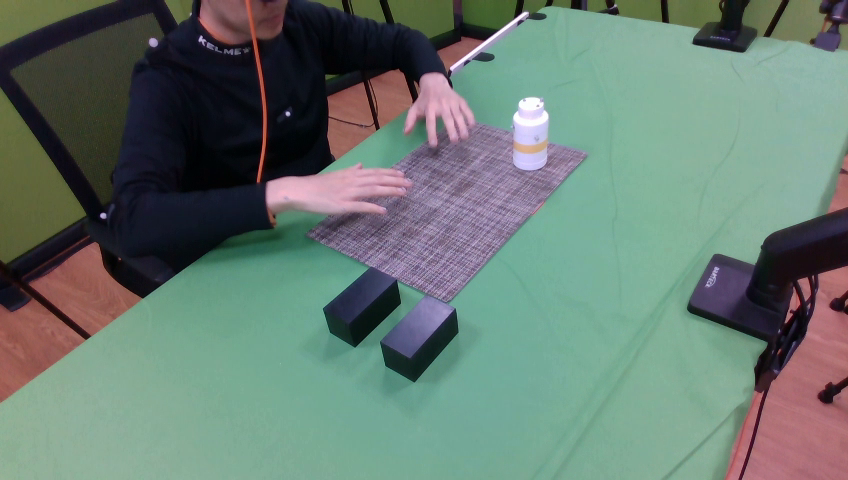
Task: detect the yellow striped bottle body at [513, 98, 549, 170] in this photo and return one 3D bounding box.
[{"bbox_3d":[0.191,-0.192,1.082,0.063,0.121,0.062,-4,41,4],"label":"yellow striped bottle body"}]

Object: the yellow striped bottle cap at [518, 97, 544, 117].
[{"bbox_3d":[0.185,-0.230,1.047,0.044,0.019,0.044,-3,40,3],"label":"yellow striped bottle cap"}]
